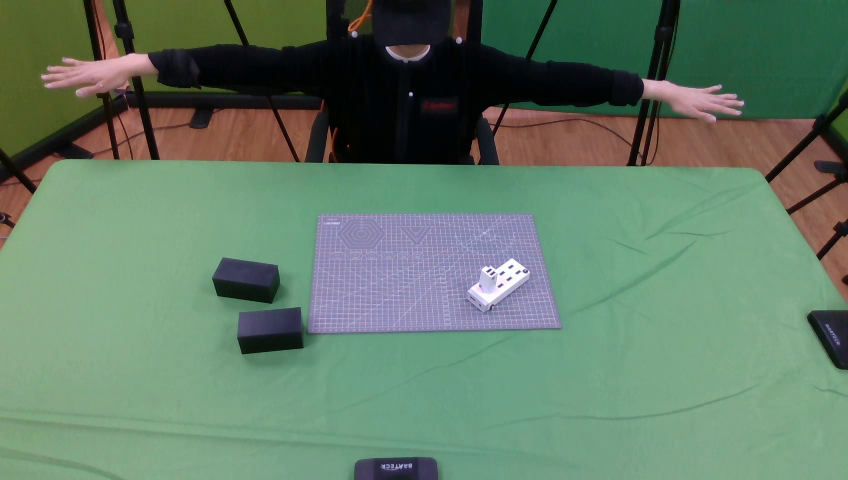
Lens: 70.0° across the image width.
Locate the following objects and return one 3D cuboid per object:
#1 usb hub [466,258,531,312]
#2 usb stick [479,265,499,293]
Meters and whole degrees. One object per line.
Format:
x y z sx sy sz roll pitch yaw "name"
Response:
0.139 0.083 1.120 0.125 0.025 0.049 -32 56 -30 "usb hub"
0.115 0.074 1.084 0.021 0.059 0.027 -34 60 -31 "usb stick"
